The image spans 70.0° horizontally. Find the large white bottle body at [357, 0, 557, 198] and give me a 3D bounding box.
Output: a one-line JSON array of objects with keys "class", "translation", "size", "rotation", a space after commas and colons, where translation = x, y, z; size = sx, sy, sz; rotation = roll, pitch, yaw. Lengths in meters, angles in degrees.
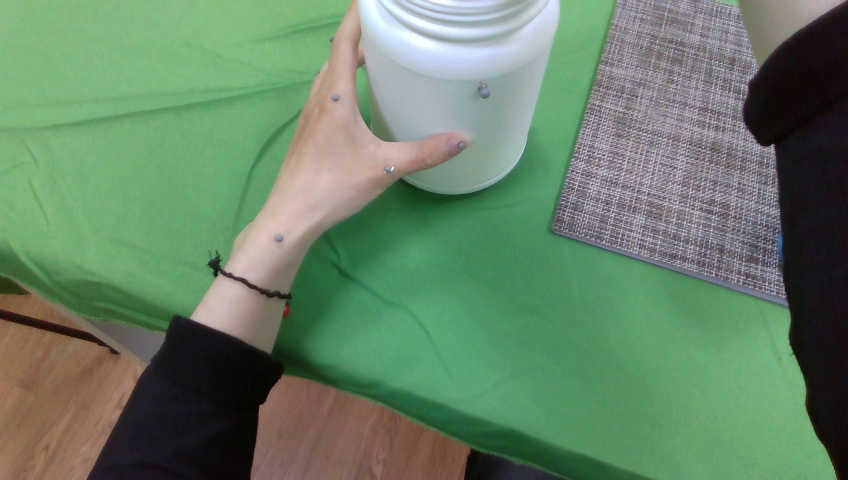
[{"class": "large white bottle body", "translation": [0.021, -0.130, 0.435], "size": [0.131, 0.186, 0.129], "rotation": [1, 62, -1]}]

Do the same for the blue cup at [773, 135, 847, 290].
[{"class": "blue cup", "translation": [0.298, -0.011, 0.424], "size": [0.092, 0.101, 0.092], "rotation": [0, 61, 0]}]
